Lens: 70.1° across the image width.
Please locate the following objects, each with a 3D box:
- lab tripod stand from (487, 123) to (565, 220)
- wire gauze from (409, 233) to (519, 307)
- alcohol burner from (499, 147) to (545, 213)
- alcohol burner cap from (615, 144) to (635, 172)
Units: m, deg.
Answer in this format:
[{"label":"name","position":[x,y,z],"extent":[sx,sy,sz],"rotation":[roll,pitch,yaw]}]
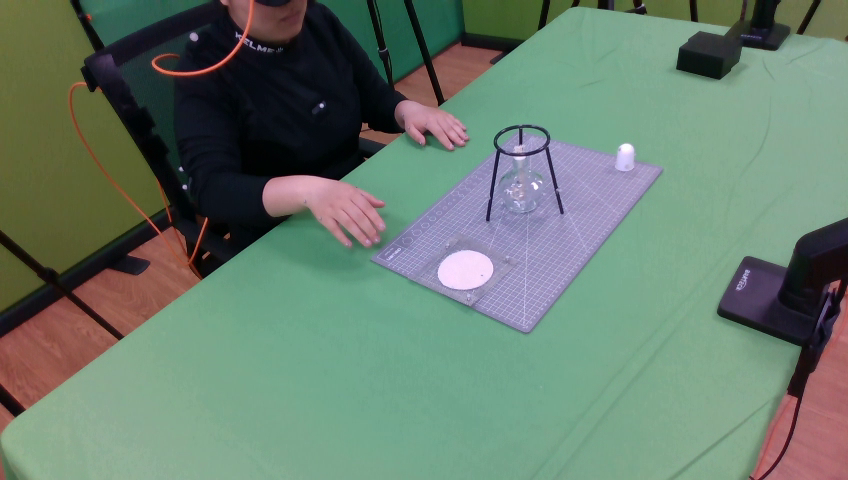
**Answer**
[{"label":"lab tripod stand","position":[0.162,-0.110,0.992],"extent":[0.148,0.132,0.147],"rotation":[-5,42,5]},{"label":"wire gauze","position":[0.061,0.045,0.925],"extent":[0.120,0.011,0.125],"rotation":[25,52,35]},{"label":"alcohol burner","position":[0.161,-0.104,1.001],"extent":[0.078,0.120,0.077],"rotation":[-6,42,6]},{"label":"alcohol burner cap","position":[0.357,-0.147,1.069],"extent":[0.034,0.048,0.033],"rotation":[-7,40,6]}]
